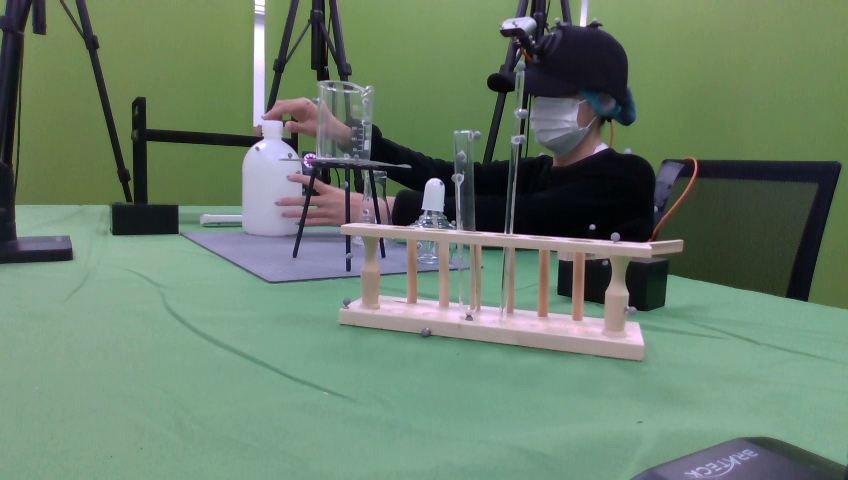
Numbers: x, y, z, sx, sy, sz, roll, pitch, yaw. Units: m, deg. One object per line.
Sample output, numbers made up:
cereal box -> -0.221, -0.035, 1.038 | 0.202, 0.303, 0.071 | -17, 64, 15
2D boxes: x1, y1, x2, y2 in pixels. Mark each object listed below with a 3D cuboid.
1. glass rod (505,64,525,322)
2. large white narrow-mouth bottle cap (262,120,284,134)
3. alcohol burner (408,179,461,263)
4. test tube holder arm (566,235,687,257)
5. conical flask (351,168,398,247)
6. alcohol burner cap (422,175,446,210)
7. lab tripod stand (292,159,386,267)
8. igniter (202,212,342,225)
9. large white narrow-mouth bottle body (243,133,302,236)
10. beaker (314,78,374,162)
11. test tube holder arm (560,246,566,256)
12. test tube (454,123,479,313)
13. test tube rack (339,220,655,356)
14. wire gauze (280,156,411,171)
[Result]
glass rod -> 0.069, -0.029, 0.458 | 0.008, 0.199, 0.008 | 1, 15, 0
large white narrow-mouth bottle cap -> -0.262, -0.195, 1.048 | 0.038, 0.024, 0.037 | 2, 8, 0
alcohol burner -> 0.013, -0.029, 0.834 | 0.078, 0.119, 0.078 | 0, 6, 0
test tube holder arm -> 0.215, 0.006, 0.629 | 0.179, 0.015, 0.013 | -3, 10, -30
conical flask -> -0.078, -0.053, 0.962 | 0.075, 0.122, 0.075 | 2, 7, 0
alcohol burner cap -> 0.016, -0.065, 0.830 | 0.034, 0.048, 0.034 | 7, 4, 0
lab tripod stand -> -0.105, -0.039, 0.797 | 0.148, 0.131, 0.148 | 2, 5, 0
igniter -> -0.298, -0.043, 1.216 | 0.278, 0.025, 0.057 | -3, -2, -32
large white narrow-mouth bottle body -> -0.265, -0.109, 1.061 | 0.102, 0.194, 0.102 | 2, 8, 0
beaker -> -0.101, -0.151, 0.775 | 0.074, 0.100, 0.083 | -2, 8, -39
test tube holder arm -> 0.173, 0.007, 0.611 | 0.088, 0.015, 0.010 | -3, 10, -30
test tube -> 0.034, -0.016, 0.477 | 0.017, 0.150, 0.017 | -2, 9, 1
test tube rack -> 0.056, 0.032, 0.495 | 0.242, 0.085, 0.067 | 4, 7, 15
wire gauze -> -0.103, -0.103, 0.785 | 0.121, 0.011, 0.126 | 11, 8, 42
